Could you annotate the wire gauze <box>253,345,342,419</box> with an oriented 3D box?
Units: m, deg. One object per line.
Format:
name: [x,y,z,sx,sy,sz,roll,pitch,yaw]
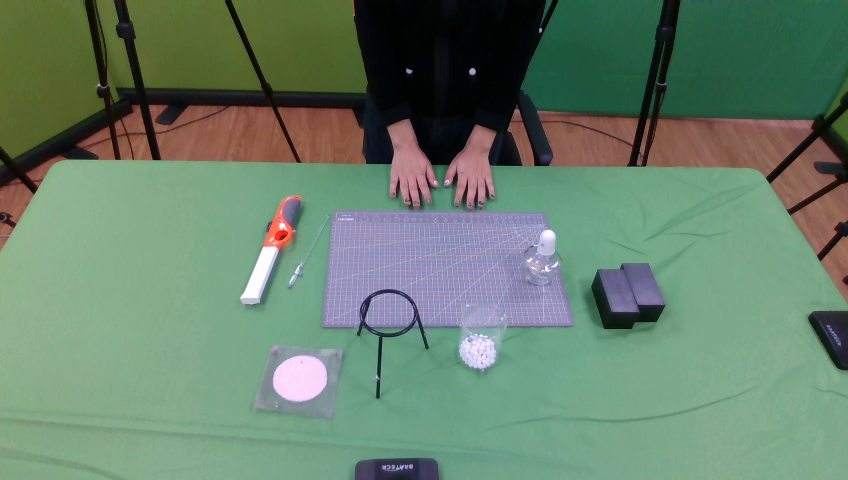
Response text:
wire gauze: [-0.200,0.224,0.979,0.125,0.011,0.121,7,47,0]

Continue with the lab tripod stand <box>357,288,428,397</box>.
lab tripod stand: [-0.058,0.155,0.967,0.148,0.132,0.147,3,47,-3]

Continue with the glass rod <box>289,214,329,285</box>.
glass rod: [-0.221,0.014,1.179,0.008,0.008,0.199,12,46,8]

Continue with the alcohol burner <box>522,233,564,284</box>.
alcohol burner: [0.223,0.027,1.121,0.078,0.119,0.077,2,48,-2]

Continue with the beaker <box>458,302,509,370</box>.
beaker: [0.092,0.159,0.999,0.083,0.101,0.074,35,53,28]

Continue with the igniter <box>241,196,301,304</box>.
igniter: [-0.290,0.010,1.164,0.057,0.025,0.275,0,45,10]

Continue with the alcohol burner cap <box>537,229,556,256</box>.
alcohol burner cap: [0.223,0.001,1.095,0.034,0.048,0.033,0,44,1]
